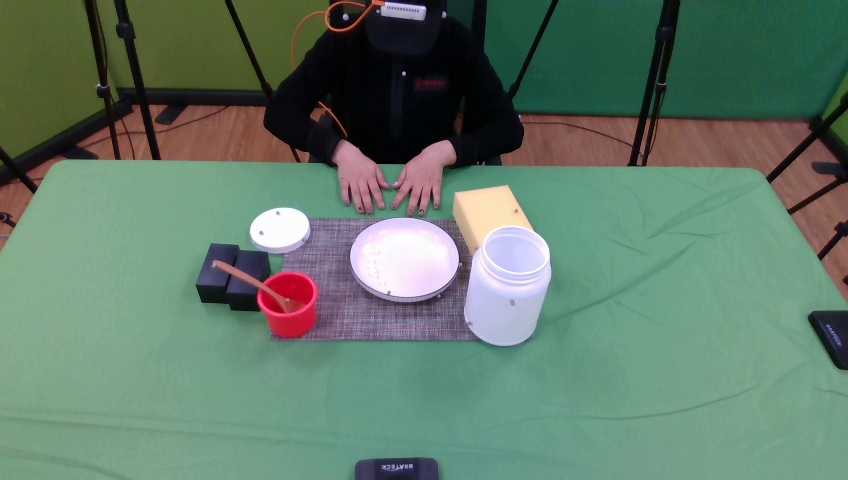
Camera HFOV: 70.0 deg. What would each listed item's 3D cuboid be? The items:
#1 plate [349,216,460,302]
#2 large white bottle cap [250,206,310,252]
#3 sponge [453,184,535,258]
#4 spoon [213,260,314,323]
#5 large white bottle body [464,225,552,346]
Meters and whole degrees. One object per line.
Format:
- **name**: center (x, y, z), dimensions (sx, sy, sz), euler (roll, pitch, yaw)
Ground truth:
- **plate**: center (-0.038, 0.038, 1.143), dimensions (0.209, 0.038, 0.208), euler (2, 46, -2)
- **large white bottle cap**: center (-0.284, -0.023, 1.198), dimensions (0.115, 0.018, 0.114), euler (1, 46, -1)
- **sponge**: center (0.144, -0.016, 1.192), dimensions (0.118, 0.061, 0.205), euler (-10, 48, -13)
- **spoon**: center (-0.264, 0.083, 1.009), dimensions (0.195, 0.021, 0.041), euler (40, 40, -28)
- **large white bottle body**: center (0.141, 0.076, 1.017), dimensions (0.131, 0.185, 0.130), euler (2, 46, -2)
